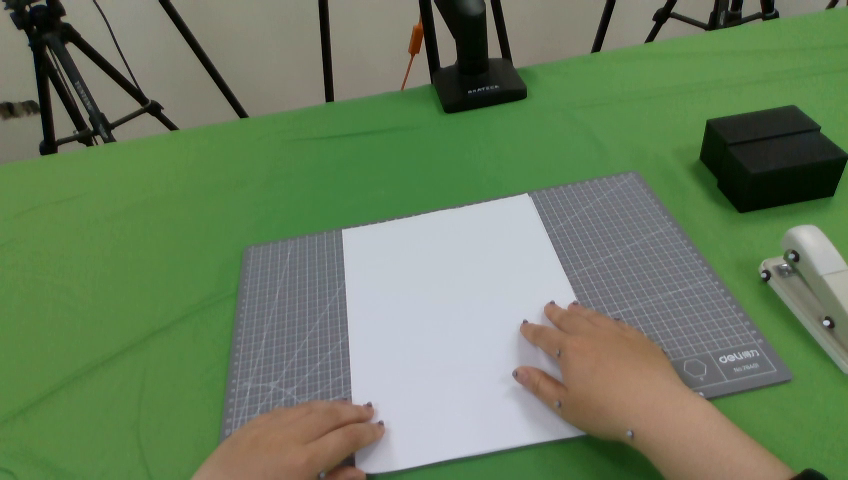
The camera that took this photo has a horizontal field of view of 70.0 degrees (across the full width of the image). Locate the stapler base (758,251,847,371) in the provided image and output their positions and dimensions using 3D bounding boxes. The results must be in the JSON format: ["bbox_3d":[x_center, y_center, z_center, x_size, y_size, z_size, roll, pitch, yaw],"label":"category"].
[{"bbox_3d":[0.333,0.049,0.506,0.041,0.025,0.129,-13,43,-1],"label":"stapler base"}]

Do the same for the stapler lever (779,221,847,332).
[{"bbox_3d":[0.330,0.032,0.488,0.027,0.040,0.116,-13,43,-1],"label":"stapler lever"}]
